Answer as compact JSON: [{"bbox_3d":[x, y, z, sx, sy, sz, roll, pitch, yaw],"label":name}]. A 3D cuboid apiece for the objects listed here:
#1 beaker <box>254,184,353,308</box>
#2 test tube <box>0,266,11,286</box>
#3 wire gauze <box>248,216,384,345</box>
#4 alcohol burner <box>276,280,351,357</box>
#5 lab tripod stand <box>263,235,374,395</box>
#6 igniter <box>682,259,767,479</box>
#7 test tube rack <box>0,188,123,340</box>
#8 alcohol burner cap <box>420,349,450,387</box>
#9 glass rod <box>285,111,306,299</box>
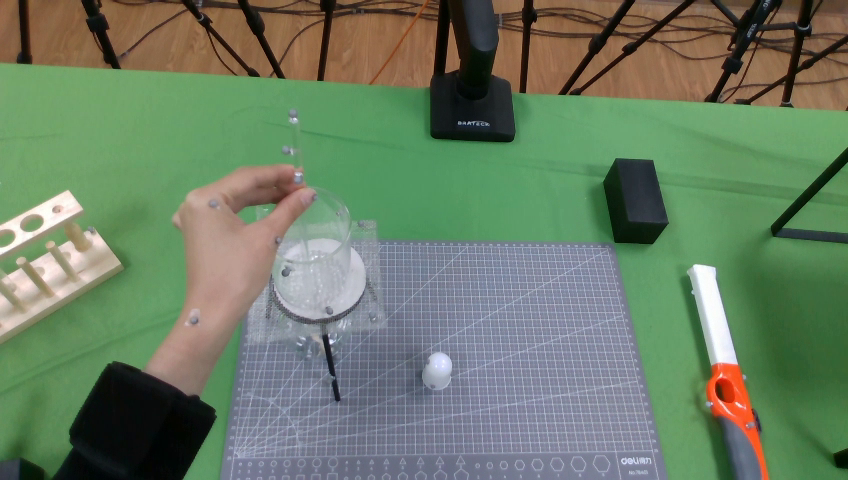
[{"bbox_3d":[-0.103,0.009,0.524,0.084,0.101,0.073,23,59,8],"label":"beaker"},{"bbox_3d":[-0.450,0.004,0.601,0.017,0.151,0.017,3,53,-4],"label":"test tube"},{"bbox_3d":[-0.103,0.032,0.567,0.121,0.011,0.124,-4,63,-6],"label":"wire gauze"},{"bbox_3d":[-0.115,0.075,0.628,0.078,0.120,0.077,4,57,-5],"label":"alcohol burner"},{"bbox_3d":[-0.104,0.070,0.621,0.148,0.132,0.147,3,59,-5],"label":"lab tripod stand"},{"bbox_3d":[0.335,0.145,0.683,0.057,0.025,0.274,9,58,-12],"label":"igniter"},{"bbox_3d":[-0.455,0.052,0.629,0.242,0.086,0.066,-37,68,-24],"label":"test tube rack"},{"bbox_3d":[0.013,0.135,0.647,0.034,0.048,0.033,2,59,-3],"label":"alcohol burner cap"},{"bbox_3d":[-0.100,-0.016,0.475,0.008,0.201,0.008,4,47,-4],"label":"glass rod"}]
